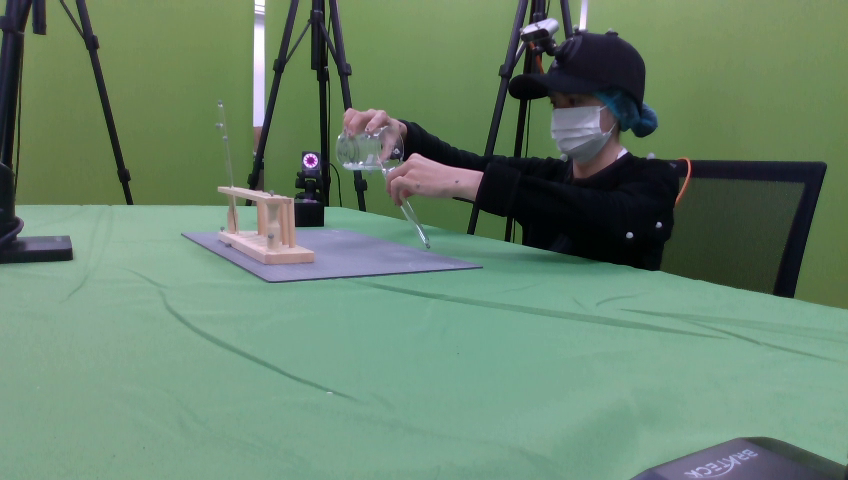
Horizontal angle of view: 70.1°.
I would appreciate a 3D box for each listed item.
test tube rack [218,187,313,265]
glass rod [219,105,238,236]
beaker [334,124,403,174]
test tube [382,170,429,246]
[{"bbox_3d":[-0.235,-0.027,0.872,0.067,0.085,0.241,-2,8,-32],"label":"test tube rack"},{"bbox_3d":[-0.294,-0.100,0.908,0.008,0.199,0.008,-3,12,1],"label":"glass rod"},{"bbox_3d":[-0.097,-0.153,1.033,0.100,0.084,0.074,3,-7,35],"label":"beaker"},{"bbox_3d":[-0.031,-0.053,0.978,0.017,0.149,0.017,-25,-22,-10],"label":"test tube"}]
